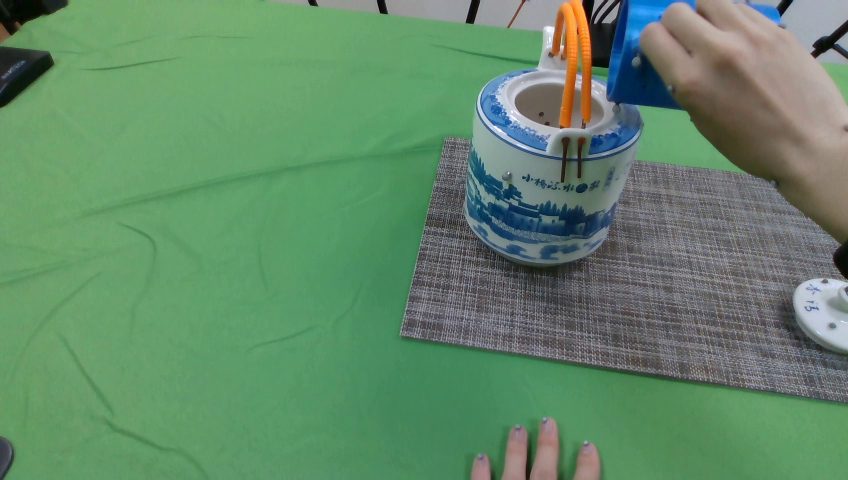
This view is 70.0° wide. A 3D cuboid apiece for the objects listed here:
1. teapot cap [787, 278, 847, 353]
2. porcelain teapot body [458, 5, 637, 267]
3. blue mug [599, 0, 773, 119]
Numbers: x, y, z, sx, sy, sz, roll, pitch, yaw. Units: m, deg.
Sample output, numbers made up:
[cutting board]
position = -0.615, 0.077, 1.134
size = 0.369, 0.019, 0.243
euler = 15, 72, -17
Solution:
[teapot cap]
position = 0.367, 0.062, 0.533
size = 0.085, 0.044, 0.084
euler = 4, 43, -3
[porcelain teapot body]
position = 0.111, -0.113, 0.561
size = 0.145, 0.227, 0.203
euler = 3, 44, -1
[blue mug]
position = 0.193, -0.137, 0.449
size = 0.105, 0.082, 0.116
euler = 9, 17, 8
